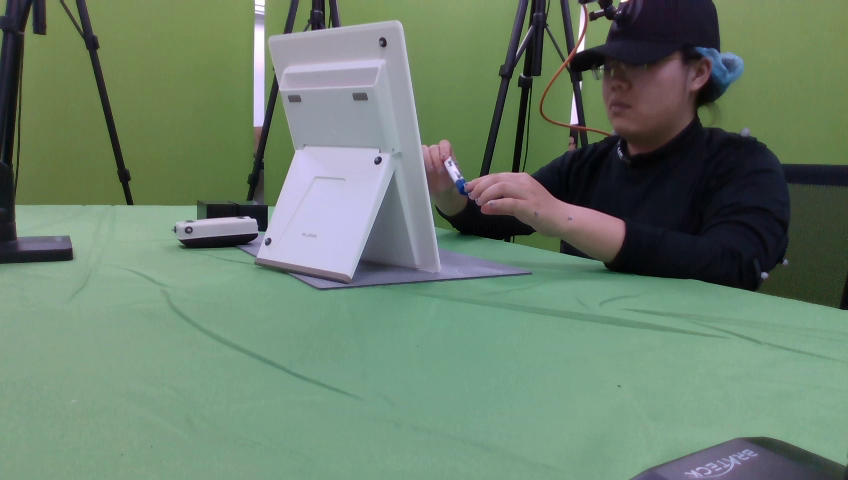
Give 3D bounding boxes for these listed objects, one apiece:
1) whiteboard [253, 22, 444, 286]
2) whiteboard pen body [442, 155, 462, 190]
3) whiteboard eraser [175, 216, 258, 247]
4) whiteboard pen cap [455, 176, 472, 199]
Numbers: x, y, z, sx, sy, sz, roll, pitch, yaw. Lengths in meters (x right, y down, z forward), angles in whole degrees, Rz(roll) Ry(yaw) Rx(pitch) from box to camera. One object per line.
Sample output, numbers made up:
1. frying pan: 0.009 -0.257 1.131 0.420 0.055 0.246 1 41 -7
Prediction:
1. whiteboard: -0.125 -0.081 0.714 0.216 0.305 0.144 9 29 36
2. whiteboard pen body: 0.045 -0.104 0.935 0.017 0.017 0.140 2 26 -8
3. whiteboard eraser: -0.313 -0.012 0.914 0.113 0.042 0.055 -5 12 -30
4. whiteboard pen cap: 0.057 -0.076 0.881 0.018 0.033 0.018 -17 -18 -5
